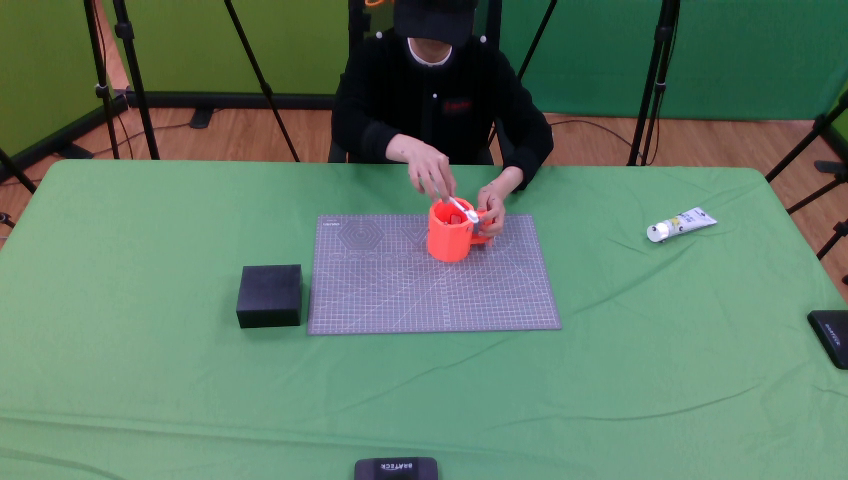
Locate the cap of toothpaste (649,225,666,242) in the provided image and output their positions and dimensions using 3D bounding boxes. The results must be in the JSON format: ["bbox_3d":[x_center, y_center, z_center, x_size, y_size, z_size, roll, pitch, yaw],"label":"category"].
[{"bbox_3d":[0.473,-0.015,1.226,0.011,0.037,0.037,-20,50,-26],"label":"cap of toothpaste"}]

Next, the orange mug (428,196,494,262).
[{"bbox_3d":[0.070,-0.023,1.164,0.126,0.101,0.083,-7,46,-5],"label":"orange mug"}]

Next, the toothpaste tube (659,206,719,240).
[{"bbox_3d":[0.542,-0.035,1.259,0.165,0.034,0.054,-19,55,-26],"label":"toothpaste tube"}]

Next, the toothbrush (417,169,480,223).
[{"bbox_3d":[0.041,-0.086,1.113,0.014,0.017,0.180,-35,52,-16],"label":"toothbrush"}]
